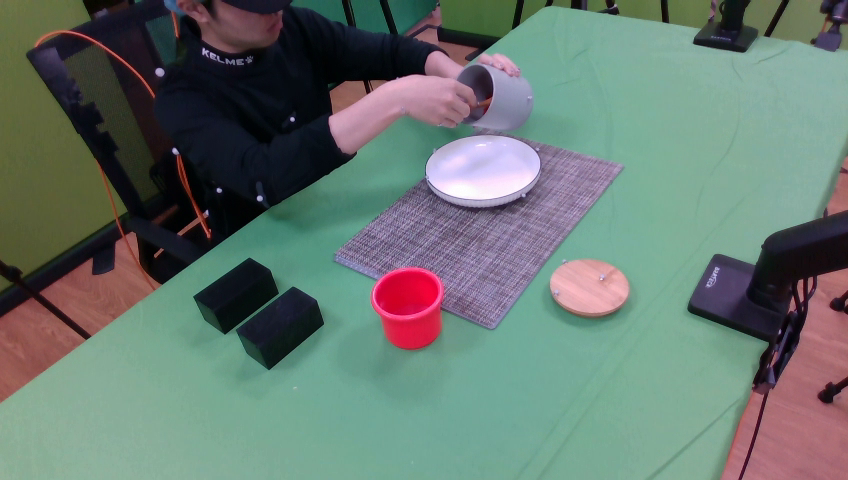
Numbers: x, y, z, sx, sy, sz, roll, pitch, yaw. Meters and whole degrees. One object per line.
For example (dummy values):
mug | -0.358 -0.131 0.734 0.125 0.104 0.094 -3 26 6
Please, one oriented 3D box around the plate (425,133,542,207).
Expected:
plate | 0.106 -0.122 1.079 0.207 0.039 0.206 -4 41 4

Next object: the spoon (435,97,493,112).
spoon | 0.098 -0.237 1.054 0.195 0.021 0.041 -17 76 -31

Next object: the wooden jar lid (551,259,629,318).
wooden jar lid | 0.234 0.070 0.857 0.108 0.021 0.108 -5 40 4

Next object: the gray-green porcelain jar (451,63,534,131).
gray-green porcelain jar | 0.128 -0.255 1.093 0.127 0.106 0.105 -2 28 -44
